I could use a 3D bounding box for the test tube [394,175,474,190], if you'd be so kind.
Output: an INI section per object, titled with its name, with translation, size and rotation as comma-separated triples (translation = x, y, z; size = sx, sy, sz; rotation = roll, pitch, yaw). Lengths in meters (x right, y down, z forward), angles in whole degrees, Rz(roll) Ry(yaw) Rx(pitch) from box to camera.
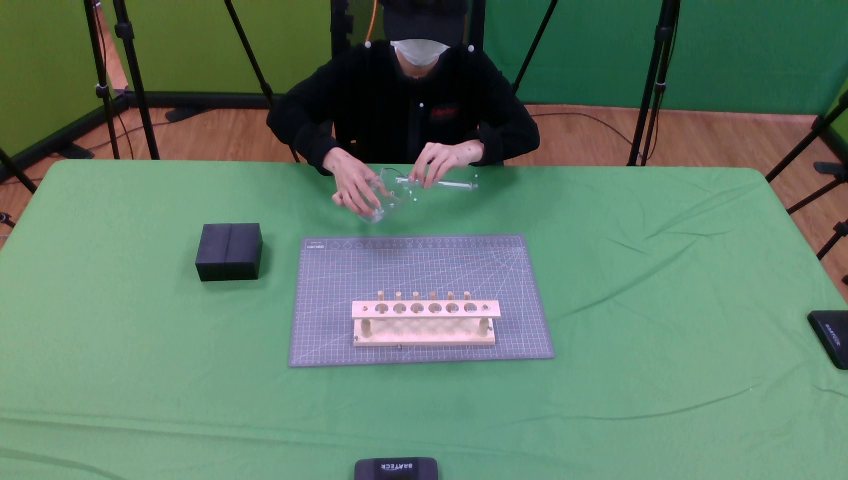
[test tube]
translation = 0.018, -0.105, 1.114
size = 0.150, 0.017, 0.017
rotation = 7, 45, 14

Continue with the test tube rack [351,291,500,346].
[test tube rack]
translation = 0.001, 0.129, 1.026
size = 0.242, 0.085, 0.066
rotation = 0, 46, -4

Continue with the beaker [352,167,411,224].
[beaker]
translation = -0.083, -0.082, 1.163
size = 0.084, 0.100, 0.073
rotation = -5, 65, -49
